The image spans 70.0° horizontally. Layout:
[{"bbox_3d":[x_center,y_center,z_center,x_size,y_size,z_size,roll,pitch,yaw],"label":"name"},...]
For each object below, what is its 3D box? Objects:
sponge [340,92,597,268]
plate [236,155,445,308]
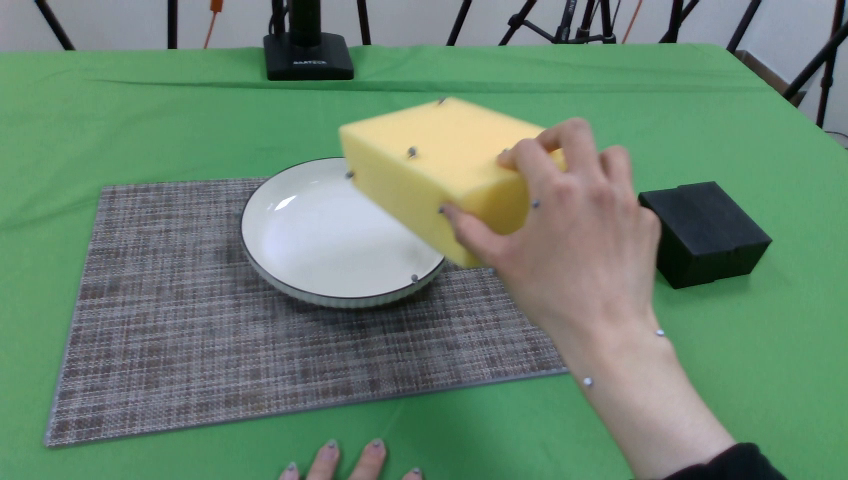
[{"bbox_3d":[0.026,-0.061,0.494,0.118,0.061,0.204,-20,31,-22],"label":"sponge"},{"bbox_3d":[-0.077,-0.008,0.600,0.208,0.039,0.205,5,43,-4],"label":"plate"}]
